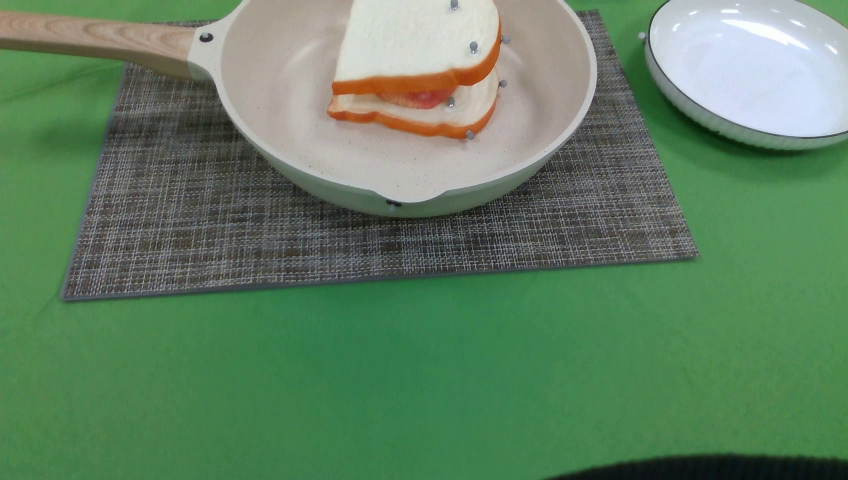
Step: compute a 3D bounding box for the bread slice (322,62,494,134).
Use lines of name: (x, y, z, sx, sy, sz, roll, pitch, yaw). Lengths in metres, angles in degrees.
bread slice: (-0.008, -0.136, 0.521, 0.134, 0.018, 0.106, 9, 57, 3)

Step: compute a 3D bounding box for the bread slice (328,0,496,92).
bread slice: (-0.008, -0.166, 0.487, 0.131, 0.019, 0.104, 0, 61, 12)

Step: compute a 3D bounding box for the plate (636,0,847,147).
plate: (0.294, -0.158, 0.551, 0.208, 0.039, 0.205, 2, 56, -2)

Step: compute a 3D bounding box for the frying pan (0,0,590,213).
frying pan: (-0.120, -0.144, 0.475, 0.489, 0.103, 0.304, 6, 54, -9)
